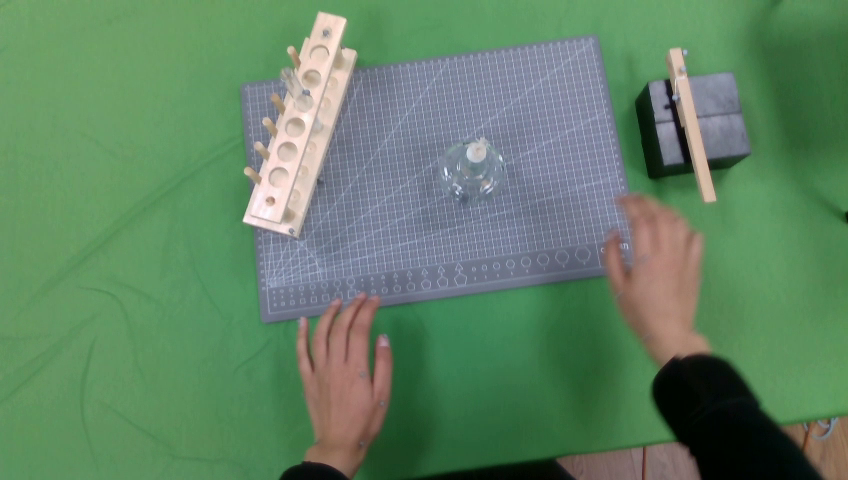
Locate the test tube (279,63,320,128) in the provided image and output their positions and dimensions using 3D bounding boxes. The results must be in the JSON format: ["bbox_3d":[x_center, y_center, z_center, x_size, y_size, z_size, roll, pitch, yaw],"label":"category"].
[{"bbox_3d":[-0.131,-0.151,0.652,0.017,0.150,0.017,0,81,0],"label":"test tube"}]

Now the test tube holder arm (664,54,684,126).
[{"bbox_3d":[0.291,-0.173,0.689,0.015,0.010,0.087,-11,76,10],"label":"test tube holder arm"}]

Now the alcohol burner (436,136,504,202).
[{"bbox_3d":[0.052,-0.084,0.673,0.078,0.119,0.077,0,78,0],"label":"alcohol burner"}]

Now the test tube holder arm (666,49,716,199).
[{"bbox_3d":[0.296,-0.131,0.673,0.015,0.013,0.177,-11,76,10],"label":"test tube holder arm"}]

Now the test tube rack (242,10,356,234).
[{"bbox_3d":[-0.151,-0.137,0.700,0.066,0.085,0.241,16,81,5],"label":"test tube rack"}]
